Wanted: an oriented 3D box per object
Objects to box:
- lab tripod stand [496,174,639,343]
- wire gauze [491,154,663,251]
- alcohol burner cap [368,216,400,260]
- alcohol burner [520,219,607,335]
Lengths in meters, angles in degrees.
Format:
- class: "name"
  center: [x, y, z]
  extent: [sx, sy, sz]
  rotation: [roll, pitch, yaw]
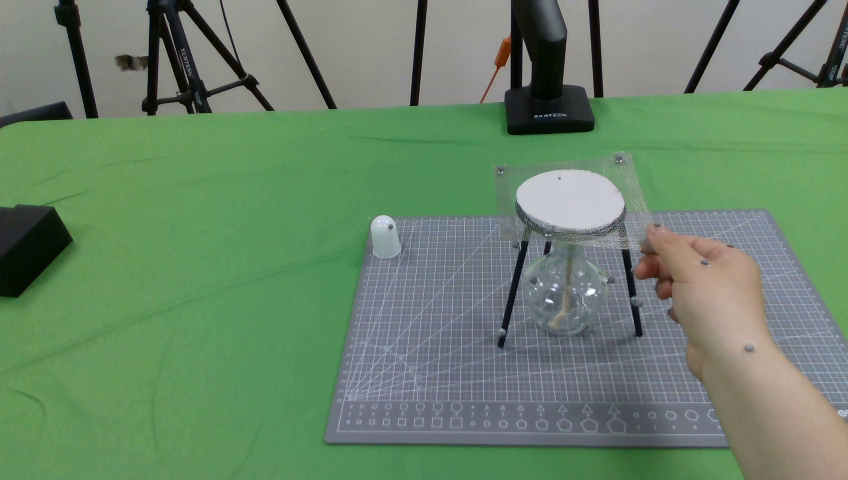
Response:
- class: "lab tripod stand"
  center: [0.127, 0.019, 0.540]
  extent: [0.148, 0.132, 0.147]
  rotation: [-2, 39, 2]
- class: "wire gauze"
  center: [0.119, -0.033, 0.497]
  extent: [0.125, 0.011, 0.120]
  rotation: [0, 40, 4]
- class: "alcohol burner cap"
  center: [-0.045, -0.005, 0.659]
  extent: [0.034, 0.048, 0.033]
  rotation: [-2, 41, 3]
- class: "alcohol burner"
  center: [0.127, 0.029, 0.544]
  extent: [0.078, 0.120, 0.077]
  rotation: [-1, 40, 2]
